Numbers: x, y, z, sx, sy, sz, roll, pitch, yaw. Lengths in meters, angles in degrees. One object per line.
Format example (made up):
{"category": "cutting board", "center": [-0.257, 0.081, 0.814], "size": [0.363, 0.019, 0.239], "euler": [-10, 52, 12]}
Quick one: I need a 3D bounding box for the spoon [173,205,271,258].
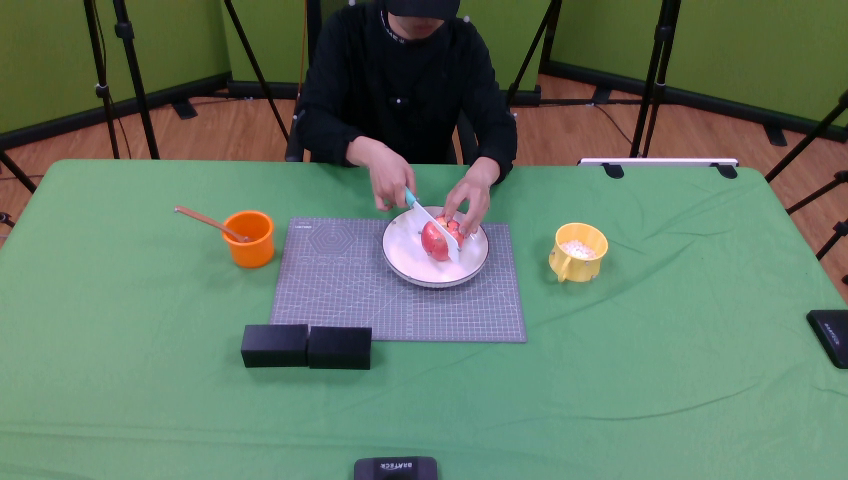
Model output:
{"category": "spoon", "center": [-0.362, -0.017, 1.098], "size": [0.021, 0.195, 0.041], "euler": [-32, 42, 27]}

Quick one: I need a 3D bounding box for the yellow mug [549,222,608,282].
{"category": "yellow mug", "center": [0.287, 0.031, 1.159], "size": [0.099, 0.064, 0.130], "euler": [27, 51, 21]}

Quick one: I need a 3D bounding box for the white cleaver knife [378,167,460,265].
{"category": "white cleaver knife", "center": [-0.015, -0.050, 1.172], "size": [0.021, 0.066, 0.284], "euler": [-22, 48, -22]}

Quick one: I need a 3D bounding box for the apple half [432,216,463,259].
{"category": "apple half", "center": [0.046, -0.007, 1.157], "size": [0.053, 0.075, 0.080], "euler": [-19, 46, -28]}

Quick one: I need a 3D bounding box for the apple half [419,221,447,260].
{"category": "apple half", "center": [0.010, 0.008, 1.139], "size": [0.033, 0.081, 0.081], "euler": [-25, 53, -24]}

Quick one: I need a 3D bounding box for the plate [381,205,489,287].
{"category": "plate", "center": [0.021, 0.015, 1.170], "size": [0.209, 0.038, 0.208], "euler": [2, 46, -2]}
